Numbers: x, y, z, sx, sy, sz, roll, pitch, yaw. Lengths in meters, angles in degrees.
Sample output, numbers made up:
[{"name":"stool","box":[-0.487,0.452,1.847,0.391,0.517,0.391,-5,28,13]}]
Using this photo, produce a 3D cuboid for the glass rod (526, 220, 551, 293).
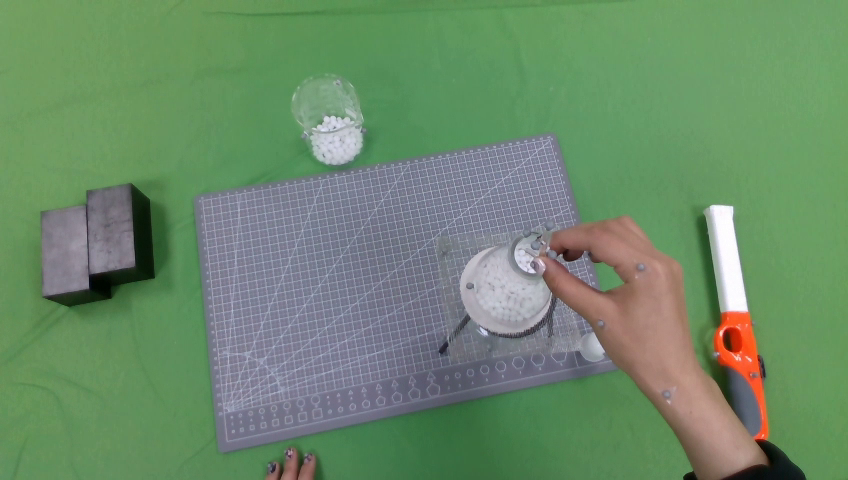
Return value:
[{"name":"glass rod","box":[0.086,0.019,0.468,0.008,0.201,0.008,-2,73,6]}]

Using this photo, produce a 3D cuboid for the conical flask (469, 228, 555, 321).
[{"name":"conical flask","box":[0.080,0.024,0.513,0.075,0.122,0.075,0,75,-1]}]

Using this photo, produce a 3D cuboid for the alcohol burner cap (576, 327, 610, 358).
[{"name":"alcohol burner cap","box":[0.189,0.111,0.668,0.034,0.048,0.033,0,73,0]}]

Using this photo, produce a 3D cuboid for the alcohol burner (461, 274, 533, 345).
[{"name":"alcohol burner","box":[0.078,0.070,0.640,0.078,0.120,0.077,0,73,1]}]

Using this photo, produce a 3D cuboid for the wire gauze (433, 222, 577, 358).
[{"name":"wire gauze","box":[0.076,0.046,0.568,0.125,0.011,0.121,-5,76,-4]}]

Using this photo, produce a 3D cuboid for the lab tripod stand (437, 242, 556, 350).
[{"name":"lab tripod stand","box":[0.077,0.066,0.631,0.148,0.132,0.147,0,75,-1]}]

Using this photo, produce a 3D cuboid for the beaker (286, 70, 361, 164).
[{"name":"beaker","box":[-0.110,-0.138,0.709,0.084,0.101,0.073,24,75,5]}]

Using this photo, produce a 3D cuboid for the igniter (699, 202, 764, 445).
[{"name":"igniter","box":[0.348,0.089,0.689,0.057,0.025,0.275,3,73,-11]}]
